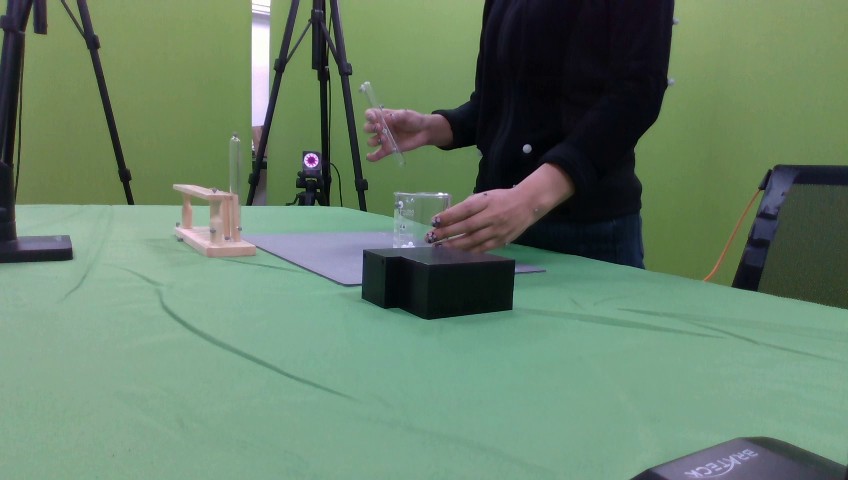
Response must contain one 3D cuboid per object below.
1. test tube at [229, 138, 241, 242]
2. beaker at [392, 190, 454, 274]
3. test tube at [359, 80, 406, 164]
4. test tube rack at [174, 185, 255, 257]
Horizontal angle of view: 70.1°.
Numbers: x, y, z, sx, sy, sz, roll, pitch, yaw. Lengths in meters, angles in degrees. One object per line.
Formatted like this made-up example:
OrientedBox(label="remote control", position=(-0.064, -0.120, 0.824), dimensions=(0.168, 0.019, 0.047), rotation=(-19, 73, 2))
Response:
OrientedBox(label="test tube", position=(-0.270, -0.071, 0.866), dimensions=(0.017, 0.150, 0.017), rotation=(2, 8, 0))
OrientedBox(label="beaker", position=(-0.005, -0.011, 0.760), dimensions=(0.074, 0.100, 0.083), rotation=(-2, 8, -32))
OrientedBox(label="test tube", position=(-0.067, -0.194, 1.001), dimensions=(0.017, 0.150, 0.017), rotation=(-26, 9, 5))
OrientedBox(label="test tube rack", position=(-0.324, -0.035, 0.922), dimensions=(0.067, 0.085, 0.241), rotation=(-2, 9, -32))
